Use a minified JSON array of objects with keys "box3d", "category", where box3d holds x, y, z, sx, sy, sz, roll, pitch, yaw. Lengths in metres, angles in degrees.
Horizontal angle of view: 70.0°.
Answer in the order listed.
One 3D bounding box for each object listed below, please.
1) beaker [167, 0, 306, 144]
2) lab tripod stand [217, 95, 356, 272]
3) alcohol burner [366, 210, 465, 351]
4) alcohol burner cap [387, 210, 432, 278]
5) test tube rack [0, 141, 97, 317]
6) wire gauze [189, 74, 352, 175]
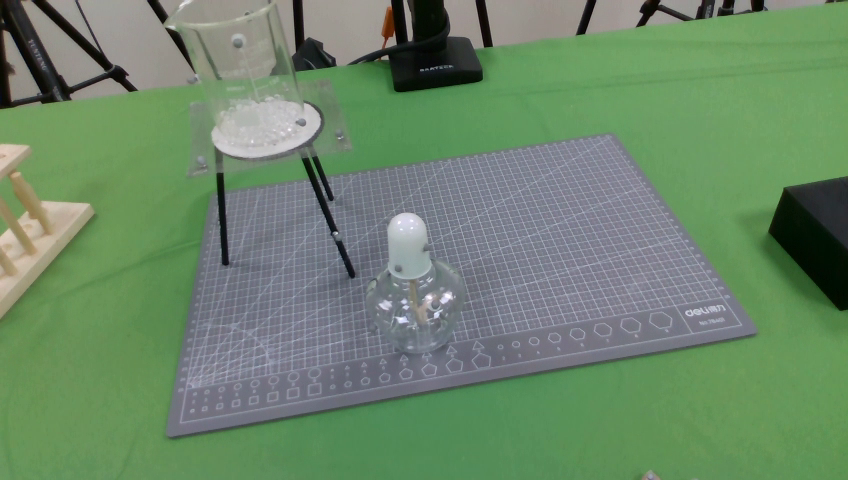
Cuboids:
[{"box3d":[-0.135,-0.130,0.458,0.084,0.101,0.073,-13,42,-7],"category":"beaker"},{"box3d":[-0.122,-0.047,0.535,0.148,0.133,0.147,-3,44,4],"category":"lab tripod stand"},{"box3d":[-0.008,0.027,0.456,0.078,0.120,0.077,-4,40,4],"category":"alcohol burner"},{"box3d":[-0.011,0.001,0.431,0.034,0.048,0.033,-1,39,2],"category":"alcohol burner cap"},{"box3d":[-0.407,0.015,0.539,0.066,0.086,0.240,4,43,11],"category":"test tube rack"},{"box3d":[-0.127,-0.095,0.491,0.125,0.011,0.120,-15,41,-6],"category":"wire gauze"}]
